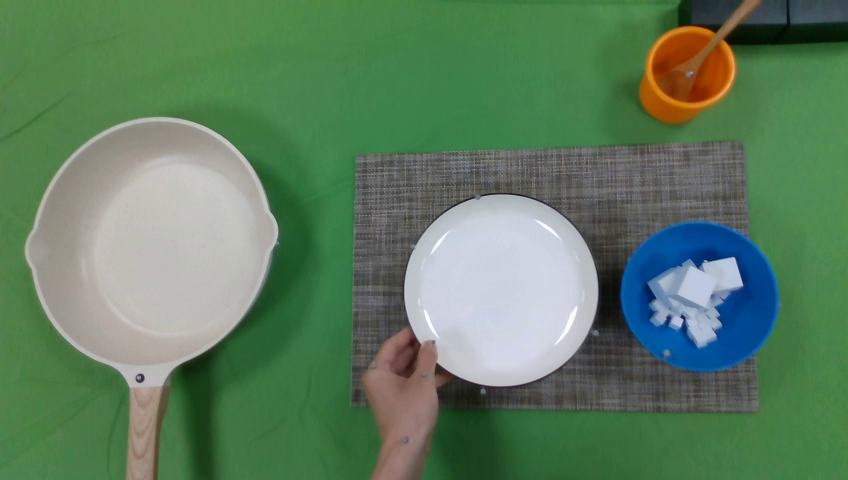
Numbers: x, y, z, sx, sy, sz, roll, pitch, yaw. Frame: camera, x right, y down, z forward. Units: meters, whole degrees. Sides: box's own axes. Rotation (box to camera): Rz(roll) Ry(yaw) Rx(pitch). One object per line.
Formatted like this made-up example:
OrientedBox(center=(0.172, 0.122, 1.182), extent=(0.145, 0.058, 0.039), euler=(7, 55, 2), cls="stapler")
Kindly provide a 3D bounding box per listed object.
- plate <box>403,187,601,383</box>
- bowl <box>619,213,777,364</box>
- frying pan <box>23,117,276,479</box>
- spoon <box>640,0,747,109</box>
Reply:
OrientedBox(center=(0.083, 0.047, 0.654), extent=(0.207, 0.039, 0.207), euler=(-1, 82, 10), cls="plate")
OrientedBox(center=(0.276, 0.053, 0.638), extent=(0.151, 0.077, 0.151), euler=(-1, 83, 7), cls="bowl")
OrientedBox(center=(-0.310, 0.104, 0.693), extent=(0.306, 0.103, 0.485), euler=(-4, 75, 7), cls="frying pan")
OrientedBox(center=(0.299, -0.215, 0.634), extent=(0.021, 0.194, 0.041), euler=(-28, 72, -42), cls="spoon")
